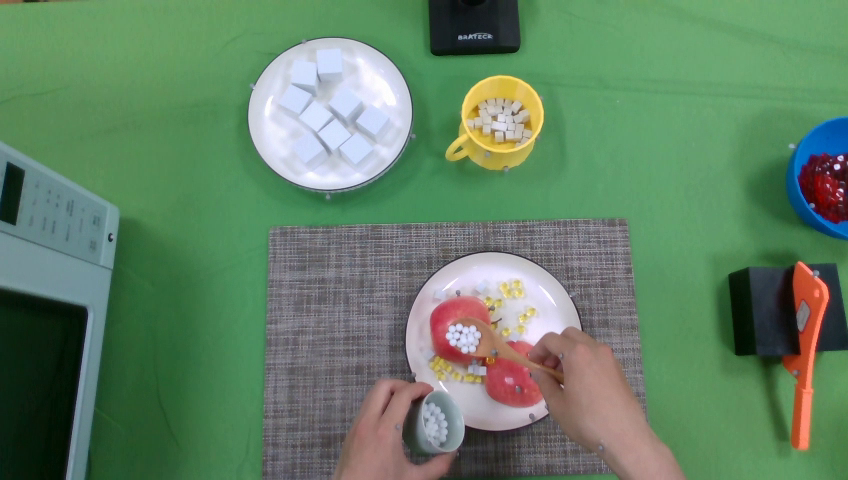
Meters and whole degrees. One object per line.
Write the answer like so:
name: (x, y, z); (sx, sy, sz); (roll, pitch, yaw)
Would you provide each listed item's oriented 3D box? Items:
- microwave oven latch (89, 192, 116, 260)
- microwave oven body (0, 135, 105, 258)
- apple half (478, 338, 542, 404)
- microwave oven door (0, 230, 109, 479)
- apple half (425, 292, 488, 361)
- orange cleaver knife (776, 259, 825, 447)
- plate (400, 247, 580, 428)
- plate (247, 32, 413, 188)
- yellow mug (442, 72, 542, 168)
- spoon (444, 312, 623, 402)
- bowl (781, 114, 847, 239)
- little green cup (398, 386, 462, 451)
microwave oven latch: (-0.389, -0.017, 0.722); (0.030, 0.029, 0.079); (4, 79, 0)
microwave oven body: (-0.544, 0.131, 0.593); (0.326, 0.261, 0.439); (2, 79, 0)
apple half: (0.101, 0.151, 0.699); (0.081, 0.033, 0.081); (0, 75, 1)
microwave oven door: (-0.400, 0.177, 0.579); (0.039, 0.245, 0.354); (2, 78, 1)
apple half: (0.039, 0.099, 0.699); (0.074, 0.053, 0.080); (-3, 79, 2)
orange cleaver knife: (0.423, 0.129, 0.691); (0.012, 0.077, 0.212); (0, 102, 4)
plate: (0.076, 0.113, 0.712); (0.209, 0.038, 0.208); (0, 79, 0)
plate: (-0.117, -0.163, 0.773); (0.208, 0.039, 0.206); (0, 78, 0)
yellow mug: (0.079, -0.140, 0.754); (0.131, 0.064, 0.099); (-32, 80, -6)
spoon: (0.105, 0.122, 0.613); (0.192, 0.022, 0.041); (21, 94, 29)
bowl: (0.497, -0.067, 0.734); (0.151, 0.077, 0.150); (0, 79, 0)
little green cup: (0.004, 0.186, 0.621); (0.062, 0.038, 0.061); (23, 47, -27)
